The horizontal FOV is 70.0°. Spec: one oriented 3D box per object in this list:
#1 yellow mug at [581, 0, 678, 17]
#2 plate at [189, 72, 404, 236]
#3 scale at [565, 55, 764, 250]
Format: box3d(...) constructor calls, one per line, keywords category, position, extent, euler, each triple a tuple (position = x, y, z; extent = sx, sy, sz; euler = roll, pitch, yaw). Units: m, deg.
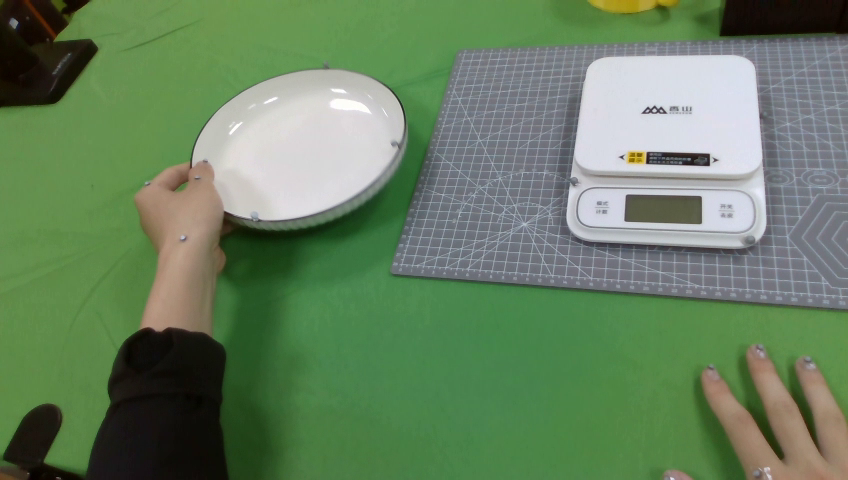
box3d(category="yellow mug", position=(0.227, -0.292, 0.651), extent=(0.100, 0.064, 0.129), euler=(-32, 53, -8))
box3d(category="plate", position=(-0.120, -0.083, 0.587), extent=(0.209, 0.038, 0.207), euler=(-4, 53, 6))
box3d(category="scale", position=(0.204, -0.082, 0.520), extent=(0.148, 0.032, 0.199), euler=(3, 56, 18))
